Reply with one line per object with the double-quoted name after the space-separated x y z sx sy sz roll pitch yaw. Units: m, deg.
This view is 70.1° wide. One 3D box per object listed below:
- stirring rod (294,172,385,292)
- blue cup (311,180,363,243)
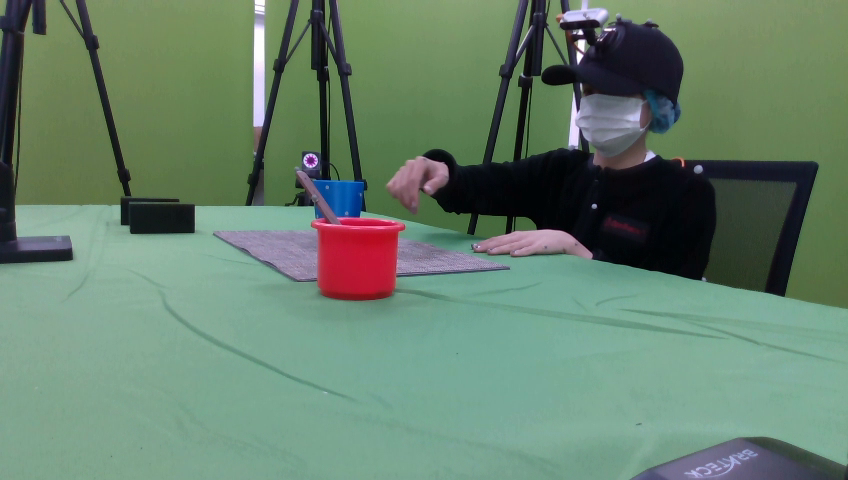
-0.092 -0.012 0.639 0.014 0.006 0.175 -2 48 -53 "stirring rod"
-0.144 -0.047 0.997 0.093 0.100 0.092 2 6 0 "blue cup"
